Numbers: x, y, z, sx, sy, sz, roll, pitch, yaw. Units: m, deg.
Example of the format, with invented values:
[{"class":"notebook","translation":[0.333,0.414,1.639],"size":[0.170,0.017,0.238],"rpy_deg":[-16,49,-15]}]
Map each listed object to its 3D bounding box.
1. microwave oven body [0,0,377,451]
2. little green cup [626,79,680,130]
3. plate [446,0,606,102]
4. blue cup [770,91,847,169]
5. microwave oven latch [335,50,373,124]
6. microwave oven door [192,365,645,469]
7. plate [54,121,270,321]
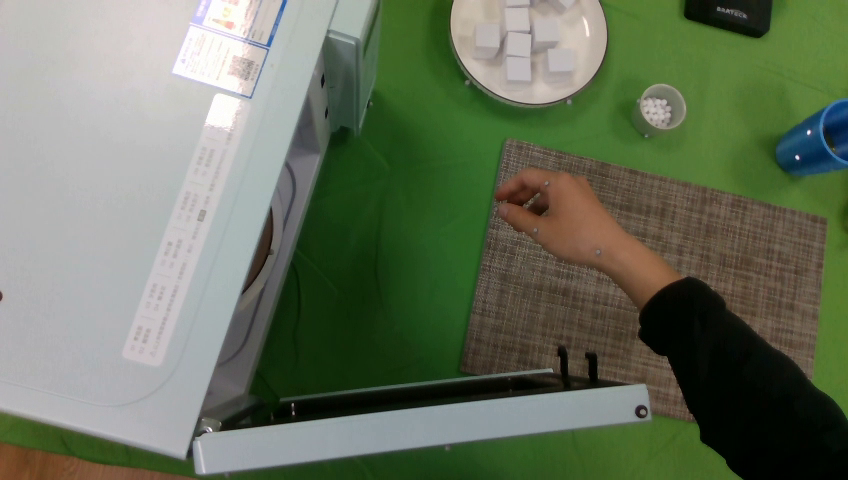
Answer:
[{"class":"microwave oven body","translation":[-0.261,-0.069,0.588],"size":[0.326,0.260,0.440],"rpy_deg":[16,81,-5]},{"class":"little green cup","translation":[0.296,-0.174,0.790],"size":[0.061,0.038,0.061],"rpy_deg":[1,81,-6]},{"class":"plate","translation":[0.129,-0.274,0.784],"size":[0.208,0.039,0.207],"rpy_deg":[1,81,-7]},{"class":"blue cup","translation":[0.504,-0.132,0.778],"size":[0.093,0.100,0.092],"rpy_deg":[1,83,-7]},{"class":"microwave oven latch","translation":[-0.084,-0.182,0.724],"size":[0.030,0.029,0.079],"rpy_deg":[19,80,-4]},{"class":"microwave oven door","translation":[-0.009,0.159,0.581],"size":[0.356,0.244,0.039],"rpy_deg":[-5,80,-8]},{"class":"plate","translation":[-0.267,-0.020,0.631],"size":[0.209,0.038,0.208],"rpy_deg":[1,82,-8]}]
